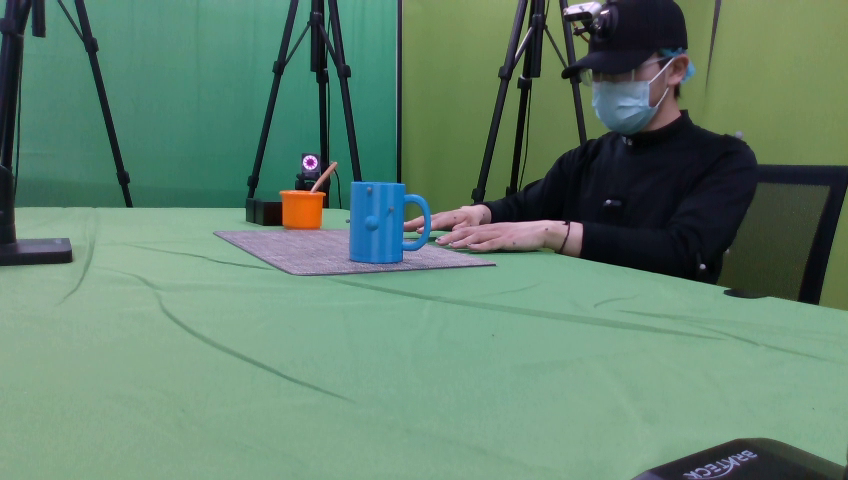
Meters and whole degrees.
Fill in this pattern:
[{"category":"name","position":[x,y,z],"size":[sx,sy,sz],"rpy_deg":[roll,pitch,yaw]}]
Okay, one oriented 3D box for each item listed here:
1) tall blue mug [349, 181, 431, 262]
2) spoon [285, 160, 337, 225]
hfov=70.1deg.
[{"category":"tall blue mug","position":[-0.051,-0.028,0.849],"size":[0.108,0.108,0.077],"rpy_deg":[-1,7,-22]},{"category":"spoon","position":[-0.229,-0.101,1.251],"size":[0.041,0.194,0.022],"rpy_deg":[3,-37,34]}]
